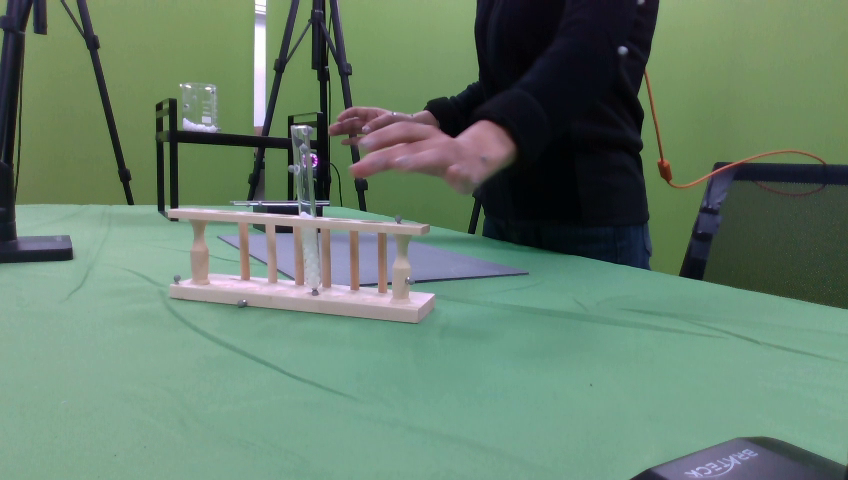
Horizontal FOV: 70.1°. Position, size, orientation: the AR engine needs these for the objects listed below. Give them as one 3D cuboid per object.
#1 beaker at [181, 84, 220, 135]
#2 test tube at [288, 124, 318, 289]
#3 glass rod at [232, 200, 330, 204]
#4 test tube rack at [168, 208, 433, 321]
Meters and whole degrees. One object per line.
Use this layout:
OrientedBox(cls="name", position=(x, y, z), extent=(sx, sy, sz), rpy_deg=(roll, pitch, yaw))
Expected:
OrientedBox(cls="beaker", position=(-0.475, -0.275, 1.281), extent=(0.073, 0.100, 0.084), rpy_deg=(6, 9, 35))
OrientedBox(cls="test tube", position=(-0.109, -0.029, 0.546), extent=(0.017, 0.150, 0.017), rpy_deg=(-3, 11, 1))
OrientedBox(cls="glass rod", position=(-0.266, -0.071, 1.146), extent=(0.201, 0.008, 0.008), rpy_deg=(-4, 9, -40))
OrientedBox(cls="test tube rack", position=(-0.115, 0.017, 0.573), extent=(0.242, 0.085, 0.067), rpy_deg=(4, 8, 13))
